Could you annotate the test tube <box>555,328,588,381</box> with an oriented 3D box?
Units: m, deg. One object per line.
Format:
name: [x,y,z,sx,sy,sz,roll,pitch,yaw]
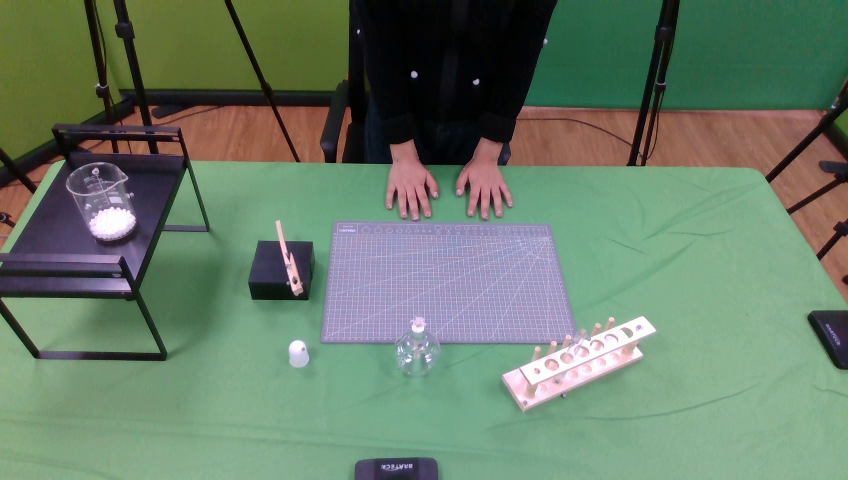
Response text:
test tube: [0.223,0.178,0.925,0.017,0.151,0.017,2,52,-2]

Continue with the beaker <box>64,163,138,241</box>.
beaker: [-0.477,-0.055,0.910,0.084,0.101,0.073,-9,48,-13]

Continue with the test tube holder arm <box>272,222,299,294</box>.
test tube holder arm: [-0.250,0.028,1.087,0.013,0.015,0.177,-17,48,-16]

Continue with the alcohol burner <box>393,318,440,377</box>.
alcohol burner: [-0.012,0.166,0.971,0.078,0.120,0.077,1,45,-1]

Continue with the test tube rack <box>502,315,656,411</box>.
test tube rack: [0.253,0.186,0.989,0.242,0.085,0.066,-18,50,-20]

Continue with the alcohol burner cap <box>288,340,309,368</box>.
alcohol burner cap: [-0.207,0.183,0.991,0.034,0.048,0.033,3,46,-3]

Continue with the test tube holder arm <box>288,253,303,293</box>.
test tube holder arm: [-0.227,0.057,1.059,0.010,0.015,0.087,-16,48,-15]
